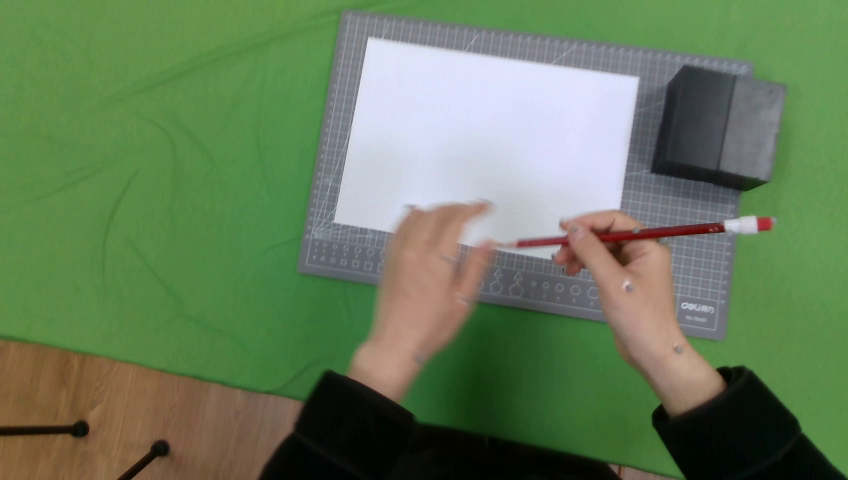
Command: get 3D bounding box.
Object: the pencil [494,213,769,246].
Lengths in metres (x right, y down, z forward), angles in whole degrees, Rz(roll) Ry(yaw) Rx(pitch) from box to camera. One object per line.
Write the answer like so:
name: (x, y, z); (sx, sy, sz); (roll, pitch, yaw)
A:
pencil: (0.143, -0.005, 0.444); (0.193, 0.012, 0.012); (-5, 83, 25)
